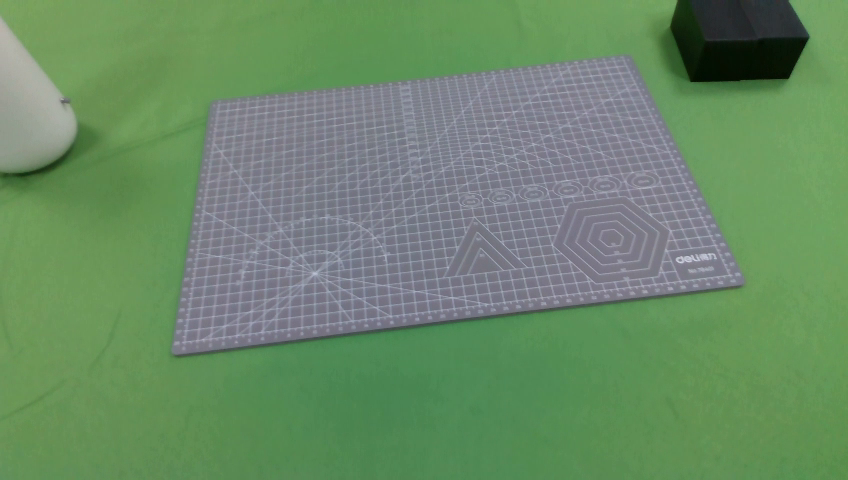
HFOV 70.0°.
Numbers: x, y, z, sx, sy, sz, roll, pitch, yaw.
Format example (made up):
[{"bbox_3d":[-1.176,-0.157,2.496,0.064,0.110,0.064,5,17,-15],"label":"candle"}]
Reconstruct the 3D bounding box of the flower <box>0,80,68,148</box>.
[{"bbox_3d":[-0.422,-0.205,0.475,0.038,0.366,0.044,12,58,34],"label":"flower"}]

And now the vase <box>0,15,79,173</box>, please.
[{"bbox_3d":[-0.396,-0.155,0.537,0.098,0.202,0.097,-1,51,2],"label":"vase"}]
